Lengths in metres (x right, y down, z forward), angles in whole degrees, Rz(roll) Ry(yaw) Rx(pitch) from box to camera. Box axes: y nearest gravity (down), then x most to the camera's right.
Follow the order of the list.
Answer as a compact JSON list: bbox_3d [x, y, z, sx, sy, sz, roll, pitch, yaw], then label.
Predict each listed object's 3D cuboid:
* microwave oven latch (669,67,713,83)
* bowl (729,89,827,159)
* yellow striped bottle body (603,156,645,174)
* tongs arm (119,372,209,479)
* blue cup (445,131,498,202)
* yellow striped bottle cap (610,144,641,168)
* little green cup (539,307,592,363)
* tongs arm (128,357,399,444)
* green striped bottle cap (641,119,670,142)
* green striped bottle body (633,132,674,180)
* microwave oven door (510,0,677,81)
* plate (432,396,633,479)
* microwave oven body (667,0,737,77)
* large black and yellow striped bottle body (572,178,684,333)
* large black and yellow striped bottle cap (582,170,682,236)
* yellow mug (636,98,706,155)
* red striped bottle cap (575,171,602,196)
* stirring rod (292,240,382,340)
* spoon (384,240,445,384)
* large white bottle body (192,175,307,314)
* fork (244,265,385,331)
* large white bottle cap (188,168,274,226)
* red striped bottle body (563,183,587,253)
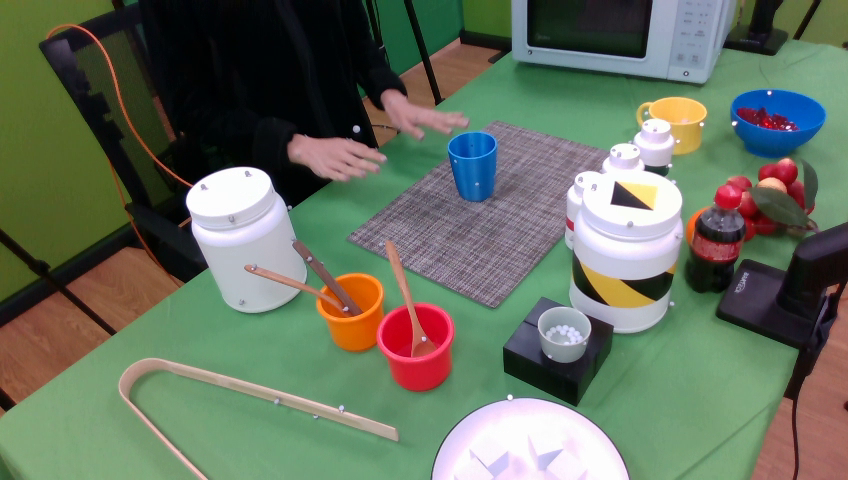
[{"bbox_3d":[0.556,-0.348,1.261,0.078,0.029,0.030,16,46,27],"label":"microwave oven latch"},{"bbox_3d":[0.615,-0.197,1.069,0.151,0.077,0.150,-5,40,5],"label":"bowl"},{"bbox_3d":[0.313,-0.089,0.956,0.063,0.121,0.062,-4,40,4],"label":"yellow striped bottle body"},{"bbox_3d":[-0.258,0.257,0.700,0.384,0.028,0.028,24,55,34],"label":"tongs arm"},{"bbox_3d":[0.087,-0.122,1.040,0.092,0.100,0.092,-5,42,5],"label":"blue cup"},{"bbox_3d":[0.307,-0.128,0.923,0.044,0.019,0.044,-5,40,5],"label":"yellow striped bottle cap"},{"bbox_3d":[0.168,0.115,0.721,0.061,0.039,0.061,-4,42,4],"label":"little green cup"},{"bbox_3d":[-0.213,0.205,0.755,0.382,0.026,0.051,12,46,23],"label":"tongs arm"},{"bbox_3d":[0.371,-0.175,0.968,0.044,0.020,0.044,-5,42,5],"label":"green striped bottle cap"},{"bbox_3d":[0.376,-0.135,1.001,0.063,0.120,0.063,-5,40,5],"label":"green striped bottle body"},{"bbox_3d":[0.354,-0.478,1.290,0.353,0.245,0.039,15,45,25],"label":"microwave oven door"},{"bbox_3d":[0.112,0.261,0.634,0.209,0.038,0.208,-5,40,4],"label":"plate"},{"bbox_3d":[0.462,-0.552,1.369,0.439,0.261,0.326,15,45,26],"label":"microwave oven body"},{"bbox_3d":[0.262,0.017,0.788,0.131,0.185,0.130,-5,40,4],"label":"large black and yellow striped bottle body"},{"bbox_3d":[0.252,-0.048,0.735,0.115,0.019,0.114,-3,40,3],"label":"large black and yellow striped bottle cap"},{"bbox_3d":[0.453,-0.217,1.128,0.100,0.064,0.129,-34,46,-27],"label":"yellow mug"},{"bbox_3d":[0.242,-0.081,0.876,0.044,0.018,0.044,-5,44,5],"label":"red striped bottle cap"},{"bbox_3d":[-0.119,0.068,0.826,0.176,0.006,0.014,49,59,-4],"label":"stirring rod"},{"bbox_3d":[-0.016,0.090,0.776,0.042,0.021,0.193,-17,86,-10],"label":"spoon"},{"bbox_3d":[-0.256,0.003,0.885,0.130,0.185,0.130,-5,40,4],"label":"large white bottle body"},{"bbox_3d":[-0.142,0.078,0.806,0.209,0.018,0.028,30,32,-24],"label":"fork"},{"bbox_3d":[-0.264,-0.061,0.831,0.115,0.018,0.114,-4,40,4],"label":"large white bottle cap"},{"bbox_3d":[0.246,-0.041,0.910,0.063,0.120,0.062,-2,38,2],"label":"red striped bottle body"}]
